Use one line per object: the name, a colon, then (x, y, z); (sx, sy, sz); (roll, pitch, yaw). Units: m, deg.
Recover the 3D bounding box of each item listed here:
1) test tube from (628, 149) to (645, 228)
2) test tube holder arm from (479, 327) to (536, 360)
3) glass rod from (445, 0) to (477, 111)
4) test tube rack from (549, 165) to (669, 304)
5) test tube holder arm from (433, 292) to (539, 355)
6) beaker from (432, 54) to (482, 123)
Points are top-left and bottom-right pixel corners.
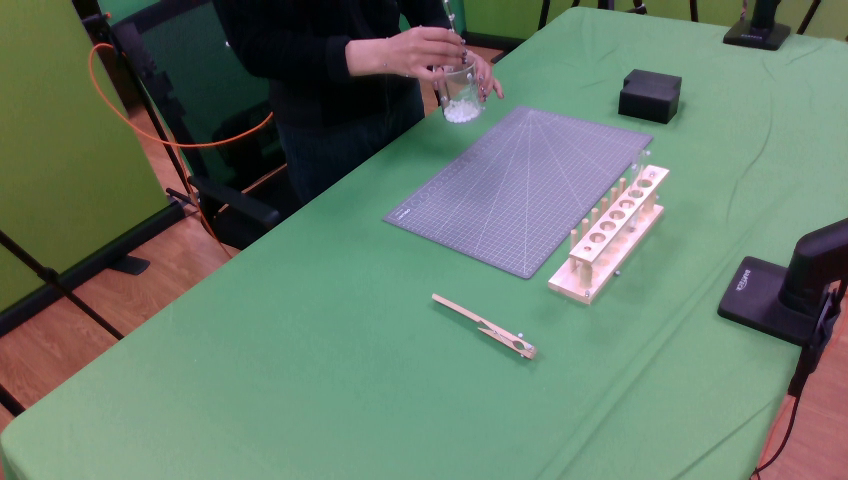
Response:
test tube: (0.309, -0.071, 0.882); (0.017, 0.151, 0.017); (-7, 46, 8)
test tube holder arm: (0.110, 0.134, 0.805); (0.087, 0.015, 0.010); (29, 83, 36)
glass rod: (0.064, -0.303, 1.008); (0.008, 0.201, 0.008); (-13, 39, 11)
test tube rack: (0.279, -0.018, 0.902); (0.066, 0.085, 0.243); (24, 50, 33)
test tube holder arm: (0.081, 0.113, 0.832); (0.177, 0.015, 0.013); (28, 82, 36)
beaker: (0.058, -0.261, 1.055); (0.084, 0.101, 0.073); (-29, 40, -18)
